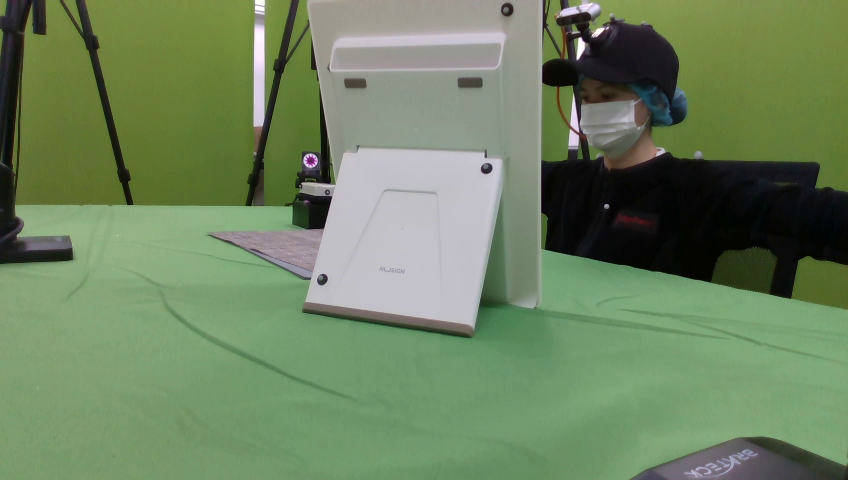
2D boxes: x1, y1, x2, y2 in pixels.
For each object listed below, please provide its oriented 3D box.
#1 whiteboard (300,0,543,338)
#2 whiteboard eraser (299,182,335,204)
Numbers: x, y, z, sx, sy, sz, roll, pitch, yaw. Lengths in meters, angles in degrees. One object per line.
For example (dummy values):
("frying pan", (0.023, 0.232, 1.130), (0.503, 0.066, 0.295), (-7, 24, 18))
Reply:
("whiteboard", (-0.020, -0.050, 0.523), (0.216, 0.305, 0.144), (6, 27, 22))
("whiteboard eraser", (-0.214, -0.097, 1.231), (0.056, 0.042, 0.112), (-3, 9, -28))
